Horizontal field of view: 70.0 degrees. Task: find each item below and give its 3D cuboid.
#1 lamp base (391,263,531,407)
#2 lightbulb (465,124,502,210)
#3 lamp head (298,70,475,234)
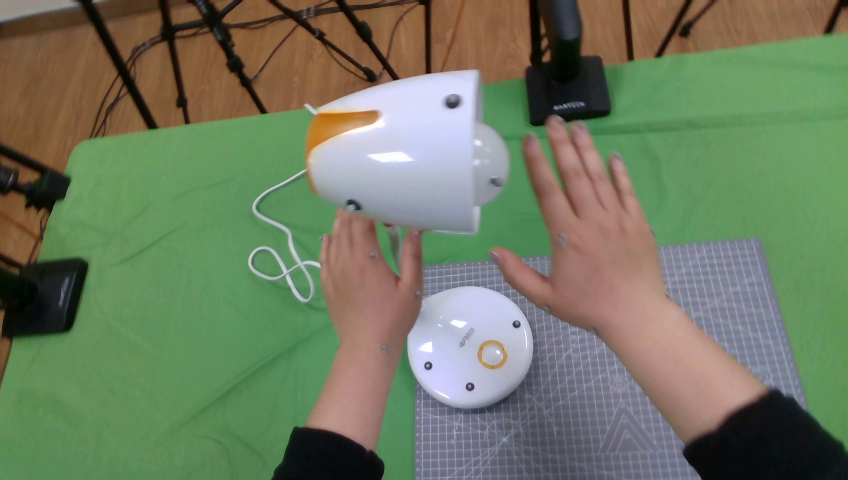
[{"bbox_3d":[0.028,0.093,0.708,0.178,0.182,0.160,18,68,23],"label":"lamp base"},{"bbox_3d":[0.000,-0.047,0.416,0.107,0.060,0.059,-4,62,12],"label":"lightbulb"},{"bbox_3d":[-0.023,-0.058,0.423,0.122,0.113,0.111,-2,63,12],"label":"lamp head"}]
